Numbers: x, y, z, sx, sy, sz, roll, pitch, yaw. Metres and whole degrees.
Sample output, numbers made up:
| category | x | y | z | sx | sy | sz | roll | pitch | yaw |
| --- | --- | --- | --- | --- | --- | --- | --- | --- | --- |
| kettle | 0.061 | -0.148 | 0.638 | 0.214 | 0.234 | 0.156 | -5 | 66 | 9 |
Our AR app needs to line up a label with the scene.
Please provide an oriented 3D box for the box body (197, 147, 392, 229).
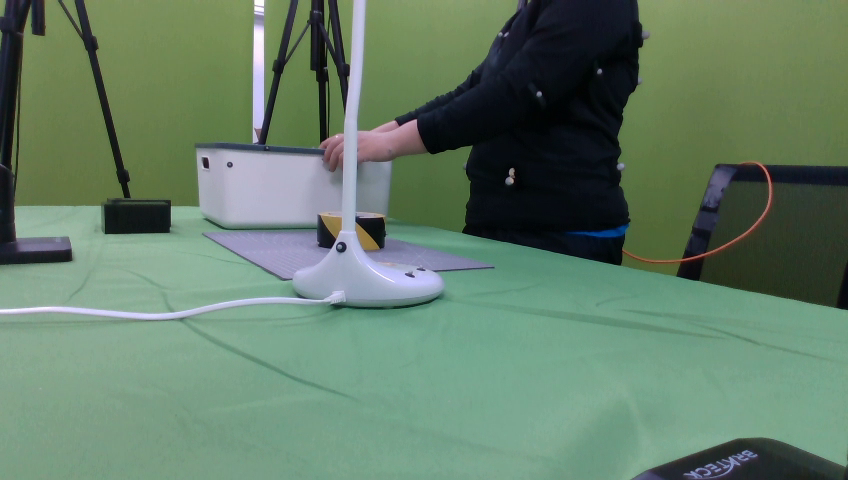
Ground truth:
| category | x | y | z | sx | sy | sz | roll | pitch | yaw |
| --- | --- | --- | --- | --- | --- | --- | --- | --- | --- |
| box body | -0.278 | -0.117 | 1.292 | 0.366 | 0.160 | 0.253 | -2 | 8 | -30 |

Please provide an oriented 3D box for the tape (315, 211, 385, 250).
| category | x | y | z | sx | sy | sz | roll | pitch | yaw |
| --- | --- | --- | --- | --- | --- | --- | --- | --- | --- |
| tape | -0.119 | -0.017 | 0.973 | 0.117 | 0.052 | 0.117 | 2 | 6 | 0 |

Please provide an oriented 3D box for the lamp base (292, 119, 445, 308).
| category | x | y | z | sx | sy | sz | roll | pitch | yaw |
| --- | --- | --- | --- | --- | --- | --- | --- | --- | --- |
| lamp base | -0.056 | -0.030 | 0.616 | 0.160 | 0.180 | 0.179 | 4 | 10 | 8 |

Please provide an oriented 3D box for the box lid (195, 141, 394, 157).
| category | x | y | z | sx | sy | sz | roll | pitch | yaw |
| --- | --- | --- | --- | --- | --- | --- | --- | --- | --- |
| box lid | -0.277 | -0.190 | 1.282 | 0.373 | 0.015 | 0.262 | -1 | 8 | -30 |
